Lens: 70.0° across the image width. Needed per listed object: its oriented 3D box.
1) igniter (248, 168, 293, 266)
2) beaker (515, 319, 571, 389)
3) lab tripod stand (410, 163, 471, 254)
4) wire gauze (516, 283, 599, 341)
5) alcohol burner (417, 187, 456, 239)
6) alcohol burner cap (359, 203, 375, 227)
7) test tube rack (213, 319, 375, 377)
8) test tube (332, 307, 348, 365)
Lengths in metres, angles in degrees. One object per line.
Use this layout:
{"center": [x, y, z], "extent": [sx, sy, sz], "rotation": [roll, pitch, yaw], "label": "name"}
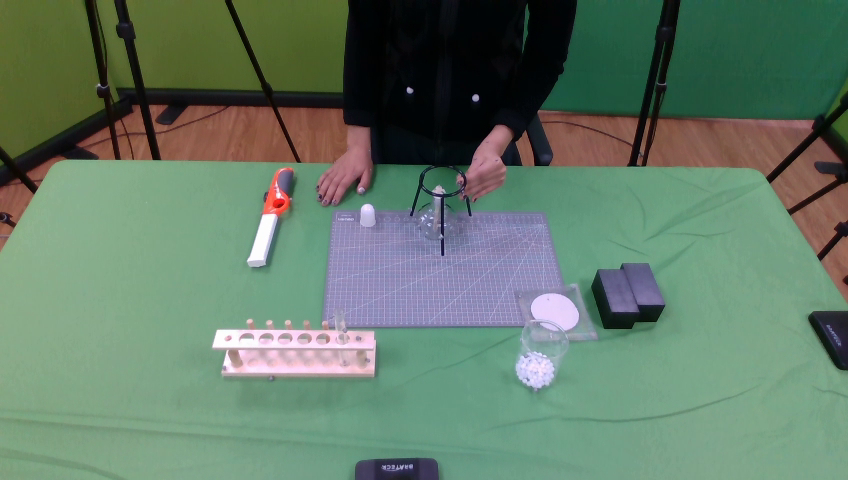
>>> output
{"center": [-0.307, -0.055, 1.225], "extent": [0.057, 0.025, 0.275], "rotation": [-3, 45, 6], "label": "igniter"}
{"center": [0.186, 0.186, 0.980], "extent": [0.074, 0.101, 0.083], "rotation": [-23, 51, -24], "label": "beaker"}
{"center": [0.036, -0.068, 1.167], "extent": [0.148, 0.132, 0.147], "rotation": [1, 48, -1], "label": "lab tripod stand"}
{"center": [0.240, 0.131, 1.094], "extent": [0.125, 0.011, 0.120], "rotation": [-3, 47, -8], "label": "wire gauze"}
{"center": [0.025, -0.059, 1.189], "extent": [0.078, 0.120, 0.077], "rotation": [1, 48, -1], "label": "alcohol burner"}
{"center": [-0.115, -0.053, 1.224], "extent": [0.034, 0.048, 0.033], "rotation": [3, 47, -3], "label": "alcohol burner cap"}
{"center": [-0.202, 0.170, 0.977], "extent": [0.242, 0.085, 0.066], "rotation": [1, 46, -3], "label": "test tube rack"}
{"center": [-0.128, 0.151, 0.931], "extent": [0.017, 0.151, 0.017], "rotation": [1, 50, -2], "label": "test tube"}
